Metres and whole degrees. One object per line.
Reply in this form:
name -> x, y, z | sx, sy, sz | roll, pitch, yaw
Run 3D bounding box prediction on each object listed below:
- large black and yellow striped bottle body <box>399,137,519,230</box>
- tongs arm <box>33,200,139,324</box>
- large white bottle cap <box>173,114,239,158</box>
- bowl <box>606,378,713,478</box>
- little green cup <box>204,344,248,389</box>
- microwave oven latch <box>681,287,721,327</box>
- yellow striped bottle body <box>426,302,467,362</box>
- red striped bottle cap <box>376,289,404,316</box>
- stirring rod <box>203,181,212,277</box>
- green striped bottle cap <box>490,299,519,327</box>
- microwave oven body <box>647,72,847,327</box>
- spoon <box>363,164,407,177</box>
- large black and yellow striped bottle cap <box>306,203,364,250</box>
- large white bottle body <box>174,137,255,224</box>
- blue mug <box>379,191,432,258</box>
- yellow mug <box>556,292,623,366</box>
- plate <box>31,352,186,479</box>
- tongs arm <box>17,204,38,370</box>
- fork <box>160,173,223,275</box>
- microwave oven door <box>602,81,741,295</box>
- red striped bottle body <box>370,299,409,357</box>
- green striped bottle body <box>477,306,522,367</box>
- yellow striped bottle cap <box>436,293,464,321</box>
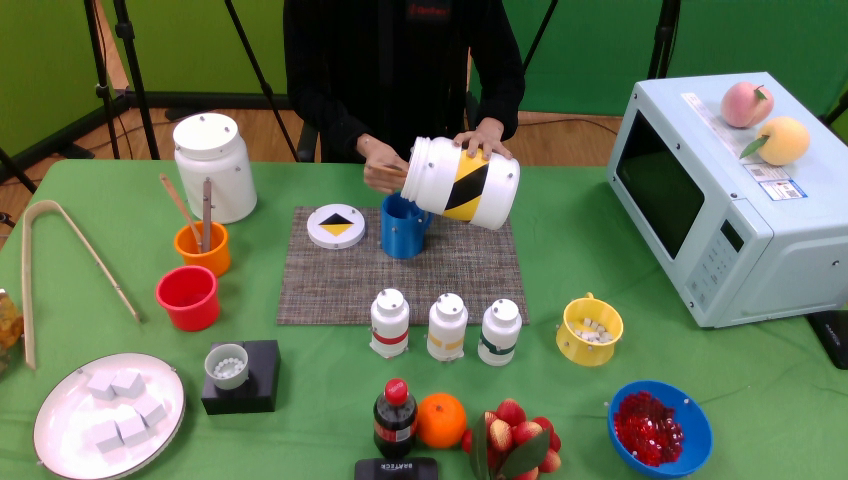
large black and yellow striped bottle body -> 0.058, -0.101, 1.048 | 0.184, 0.131, 0.130 | 16, 46, -6
tongs arm -> -0.622, 0.034, 1.105 | 0.051, 0.026, 0.382 | -32, 56, -26
large white bottle cap -> -0.403, -0.195, 1.122 | 0.115, 0.018, 0.114 | 2, 47, -2
bowl -> 0.340, 0.292, 0.906 | 0.151, 0.077, 0.150 | 2, 46, -2
little green cup -> -0.294, 0.191, 0.909 | 0.061, 0.039, 0.061 | 1, 48, -1
microwave oven latch -> 0.494, 0.119, 1.087 | 0.030, 0.029, 0.078 | -6, 46, -9
yellow striped bottle body -> 0.037, 0.142, 0.996 | 0.063, 0.121, 0.062 | 2, 46, -2
red striped bottle cap -> -0.054, 0.098, 0.958 | 0.044, 0.018, 0.044 | 0, 48, 0
stirring rod -> -0.396, -0.021, 1.107 | 0.014, 0.006, 0.176 | -1, 89, -1
green striped bottle cap -> 0.128, 0.115, 0.958 | 0.044, 0.020, 0.044 | 2, 47, -1
microwave oven body -> 0.607, -0.089, 1.164 | 0.326, 0.261, 0.438 | -7, 46, -10
spoon -> -0.017, -0.105, 1.061 | 0.194, 0.021, 0.041 | 18, 11, -24
large black and yellow striped bottle cap -> -0.178, -0.029, 1.211 | 0.115, 0.019, 0.114 | 2, 47, -2
large white bottle body -> -0.408, -0.136, 1.183 | 0.131, 0.185, 0.130 | 2, 46, -2
blue mug -> -0.031, -0.036, 1.167 | 0.116, 0.106, 0.082 | -28, 55, -27
yellow mug -> 0.285, 0.145, 1.051 | 0.100, 0.064, 0.130 | 7, 45, 3
plate -> -0.459, 0.262, 0.898 | 0.209, 0.038, 0.208 | 2, 45, -2
tongs arm -> -0.698, 0.070, 1.068 | 0.028, 0.028, 0.385 | -20, 50, -13
fork -> -0.426, -0.030, 1.103 | 0.028, 0.018, 0.207 | -30, 99, -22
microwave oven door -> 0.456, -0.107, 1.162 | 0.039, 0.245, 0.353 | -7, 47, -11
red striped bottle body -> -0.057, 0.135, 0.997 | 0.063, 0.120, 0.062 | 2, 47, -2
green striped bottle body -> 0.124, 0.151, 0.995 | 0.063, 0.120, 0.063 | 2, 46, -2
yellow striped bottle cap -> 0.041, 0.106, 0.959 | 0.044, 0.019, 0.044 | -1, 49, 1
